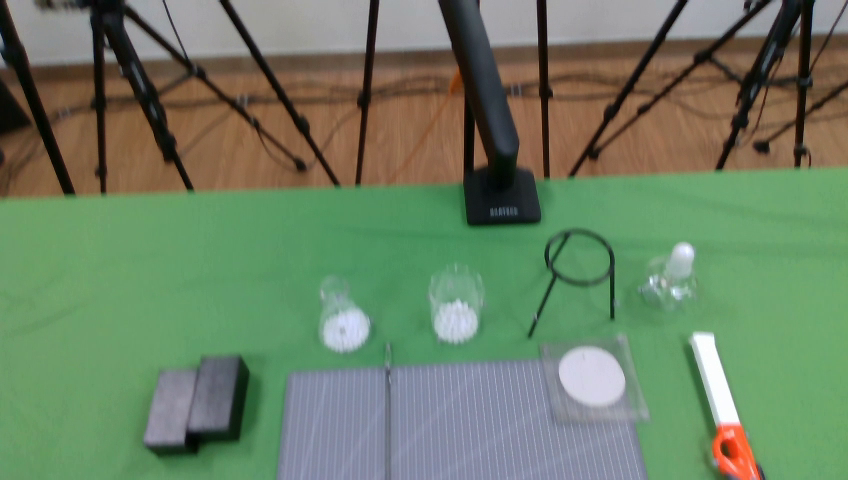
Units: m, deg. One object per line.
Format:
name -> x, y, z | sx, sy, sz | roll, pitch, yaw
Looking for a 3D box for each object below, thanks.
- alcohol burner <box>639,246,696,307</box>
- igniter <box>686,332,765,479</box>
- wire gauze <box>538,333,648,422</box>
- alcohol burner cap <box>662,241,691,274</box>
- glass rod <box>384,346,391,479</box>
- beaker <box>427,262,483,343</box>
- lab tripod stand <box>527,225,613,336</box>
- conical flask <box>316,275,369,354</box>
alcohol burner -> 0.346, 0.043, 0.850 | 0.078, 0.120, 0.077 | -1, 56, 2
igniter -> 0.380, 0.241, 0.758 | 0.057, 0.025, 0.274 | 5, 54, -8
wire gauze -> 0.224, 0.184, 0.812 | 0.125, 0.011, 0.120 | -3, 54, -1
alcohol burner cap -> 0.344, 0.021, 0.822 | 0.034, 0.048, 0.033 | -4, 51, 5
glass rod -> -0.047, 0.227, 0.784 | 0.008, 0.008, 0.197 | -3, 54, -1
beaker -> 0.041, 0.089, 0.832 | 0.074, 0.101, 0.083 | -1, 53, 0
lab tripod stand -> 0.198, 0.057, 0.830 | 0.148, 0.132, 0.147 | 0, 56, 1
conical flask -> -0.117, 0.095, 0.815 | 0.075, 0.123, 0.074 | -1, 53, 1
